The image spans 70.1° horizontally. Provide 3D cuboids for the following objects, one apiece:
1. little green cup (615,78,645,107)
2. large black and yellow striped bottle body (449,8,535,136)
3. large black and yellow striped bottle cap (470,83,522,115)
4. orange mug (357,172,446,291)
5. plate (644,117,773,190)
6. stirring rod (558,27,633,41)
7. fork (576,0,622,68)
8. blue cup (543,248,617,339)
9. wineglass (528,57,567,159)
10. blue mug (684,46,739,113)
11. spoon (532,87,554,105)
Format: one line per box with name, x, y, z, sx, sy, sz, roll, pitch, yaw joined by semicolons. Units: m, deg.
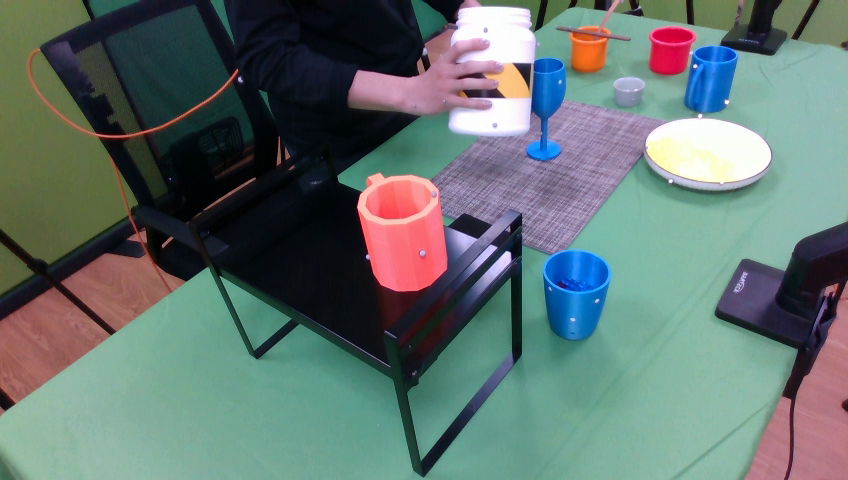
little green cup;0.426;-0.306;1.257;0.061;0.039;0.061;-4;40;4
large black and yellow striped bottle body;0.106;-0.261;0.946;0.131;0.184;0.130;1;15;0
large black and yellow striped bottle cap;0.156;-0.307;1.316;0.115;0.019;0.114;-7;39;6
orange mug;-0.030;-0.019;0.668;0.084;0.101;0.125;-23;47;-16
plate;0.495;-0.148;1.063;0.209;0.038;0.208;-5;40;4
stirring rod;0.381;-0.463;1.356;0.175;0.006;0.014;21;47;30
fork;0.409;-0.484;1.381;0.028;0.019;0.207;37;101;45
blue cup;0.199;0.076;0.797;0.092;0.100;0.092;-4;39;4
wineglass;0.221;-0.237;1.098;0.074;0.173;0.073;-5;41;4
blue mug;0.556;-0.310;1.190;0.117;0.106;0.081;-32;46;-25
spoon;0.227;-0.284;1.269;0.041;0.022;0.194;3;37;44
